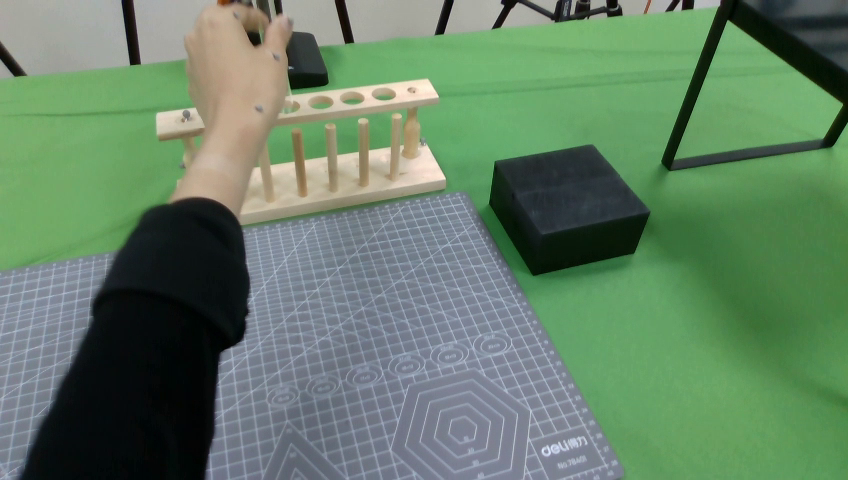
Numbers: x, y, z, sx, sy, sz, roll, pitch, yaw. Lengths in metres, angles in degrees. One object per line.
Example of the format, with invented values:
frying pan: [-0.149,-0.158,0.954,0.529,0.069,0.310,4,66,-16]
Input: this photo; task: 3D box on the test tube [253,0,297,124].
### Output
test tube: [-0.117,-0.151,0.473,0.017,0.151,0.017,1,51,0]

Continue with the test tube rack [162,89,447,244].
test tube rack: [-0.101,-0.070,0.555,0.243,0.086,0.066,-11,45,-14]
